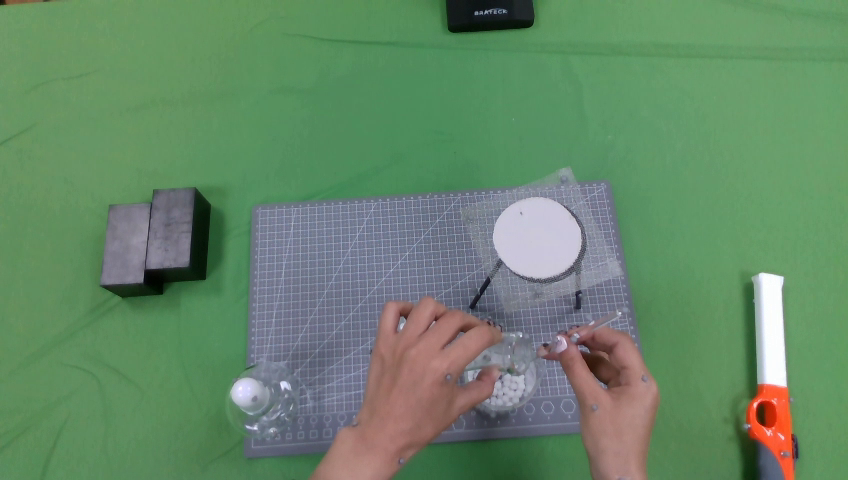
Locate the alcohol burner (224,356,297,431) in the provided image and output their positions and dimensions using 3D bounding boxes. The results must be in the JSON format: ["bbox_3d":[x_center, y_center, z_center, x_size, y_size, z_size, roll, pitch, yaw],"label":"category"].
[{"bbox_3d":[-0.173,0.157,0.627,0.078,0.120,0.077,0,72,0],"label":"alcohol burner"}]

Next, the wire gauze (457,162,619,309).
[{"bbox_3d":[0.111,-0.006,0.596,0.125,0.011,0.120,-20,73,-5],"label":"wire gauze"}]

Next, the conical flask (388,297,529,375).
[{"bbox_3d":[0.034,0.093,0.553,0.121,0.076,0.075,1,66,37],"label":"conical flask"}]

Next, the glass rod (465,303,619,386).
[{"bbox_3d":[0.099,0.099,0.550,0.008,0.200,0.008,21,50,-27],"label":"glass rod"}]

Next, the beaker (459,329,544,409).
[{"bbox_3d":[0.077,0.139,0.637,0.084,0.101,0.073,-6,71,-1],"label":"beaker"}]

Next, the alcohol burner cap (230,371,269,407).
[{"bbox_3d":[-0.173,0.144,0.593,0.034,0.048,0.033,1,68,-3],"label":"alcohol burner cap"}]

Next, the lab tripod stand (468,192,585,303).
[{"bbox_3d":[0.114,0.018,0.659,0.148,0.132,0.147,0,72,2],"label":"lab tripod stand"}]

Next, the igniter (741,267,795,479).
[{"bbox_3d":[0.375,0.164,0.663,0.057,0.025,0.275,11,71,-6],"label":"igniter"}]
